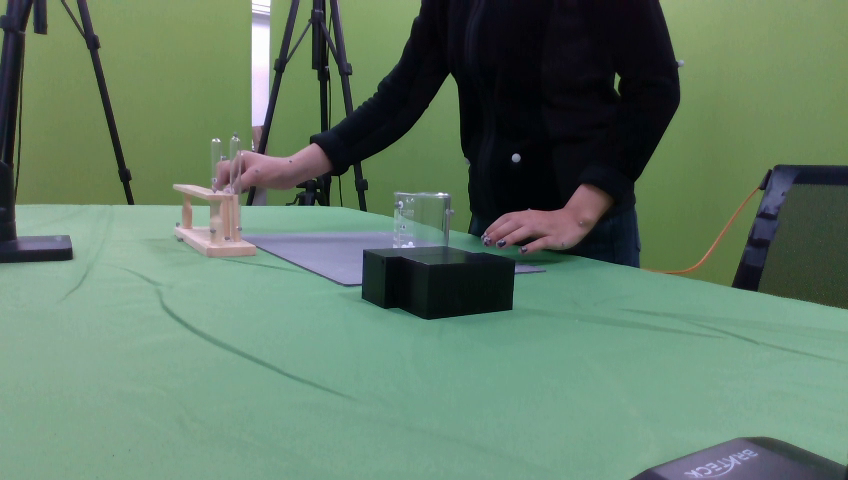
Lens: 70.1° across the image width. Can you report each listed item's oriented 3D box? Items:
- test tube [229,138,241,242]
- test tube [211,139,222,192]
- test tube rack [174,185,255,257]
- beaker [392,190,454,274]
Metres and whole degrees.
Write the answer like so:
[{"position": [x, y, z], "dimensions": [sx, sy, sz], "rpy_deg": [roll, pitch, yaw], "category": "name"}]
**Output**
[{"position": [-0.270, -0.071, 0.866], "dimensions": [0.017, 0.150, 0.017], "rpy_deg": [2, 8, 0], "category": "test tube"}, {"position": [-0.330, -0.086, 0.964], "dimensions": [0.017, 0.150, 0.017], "rpy_deg": [1, 6, 0], "category": "test tube"}, {"position": [-0.324, -0.035, 0.922], "dimensions": [0.067, 0.085, 0.241], "rpy_deg": [-2, 9, -32], "category": "test tube rack"}, {"position": [-0.005, -0.011, 0.759], "dimensions": [0.074, 0.100, 0.083], "rpy_deg": [-2, 8, -32], "category": "beaker"}]
